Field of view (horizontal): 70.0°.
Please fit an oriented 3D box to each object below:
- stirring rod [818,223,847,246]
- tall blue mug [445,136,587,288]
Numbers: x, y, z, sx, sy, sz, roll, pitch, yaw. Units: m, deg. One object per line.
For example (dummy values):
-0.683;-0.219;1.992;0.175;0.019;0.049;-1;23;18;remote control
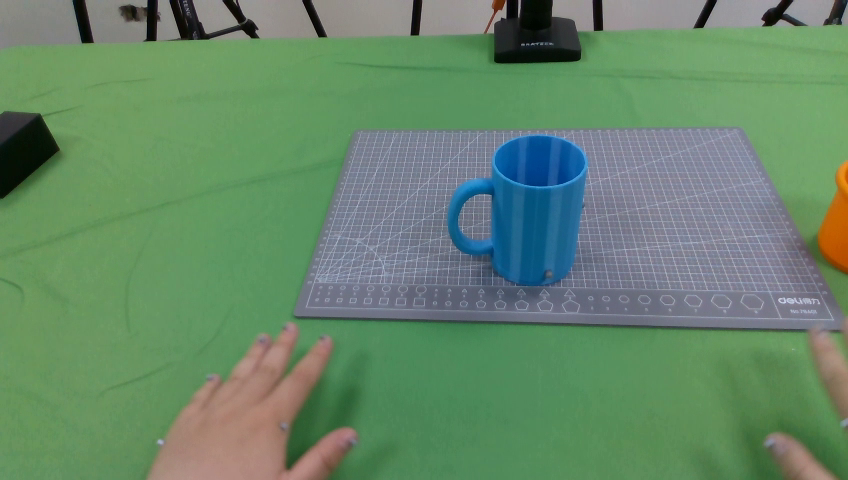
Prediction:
0.413;-0.035;0.488;0.176;0.006;0.014;-32;29;38;stirring rod
0.080;-0.017;0.511;0.107;0.109;0.077;-26;47;-22;tall blue mug
